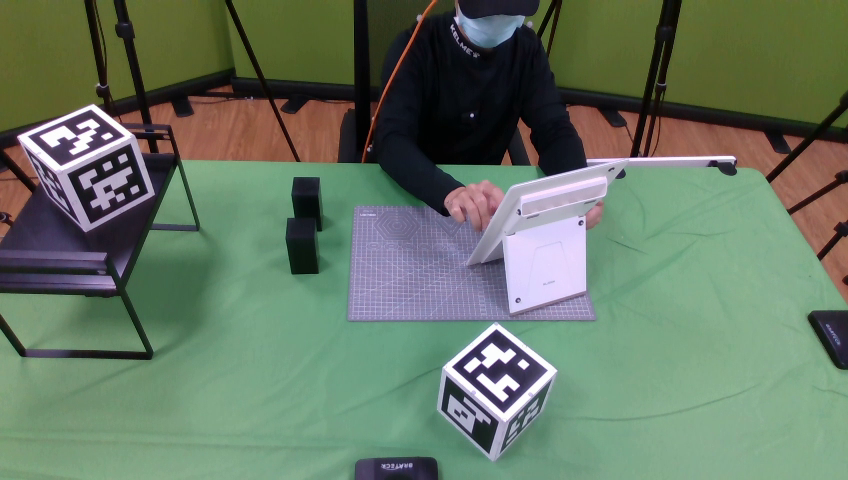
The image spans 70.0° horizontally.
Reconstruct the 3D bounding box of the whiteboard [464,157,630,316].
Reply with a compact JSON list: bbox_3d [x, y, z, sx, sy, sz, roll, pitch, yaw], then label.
[{"bbox_3d":[0.224,0.015,1.042,0.217,0.306,0.143,-13,68,-17],"label":"whiteboard"}]

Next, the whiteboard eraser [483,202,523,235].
[{"bbox_3d":[0.137,-0.038,1.050,0.041,0.101,0.018,-8,69,-26],"label":"whiteboard eraser"}]
